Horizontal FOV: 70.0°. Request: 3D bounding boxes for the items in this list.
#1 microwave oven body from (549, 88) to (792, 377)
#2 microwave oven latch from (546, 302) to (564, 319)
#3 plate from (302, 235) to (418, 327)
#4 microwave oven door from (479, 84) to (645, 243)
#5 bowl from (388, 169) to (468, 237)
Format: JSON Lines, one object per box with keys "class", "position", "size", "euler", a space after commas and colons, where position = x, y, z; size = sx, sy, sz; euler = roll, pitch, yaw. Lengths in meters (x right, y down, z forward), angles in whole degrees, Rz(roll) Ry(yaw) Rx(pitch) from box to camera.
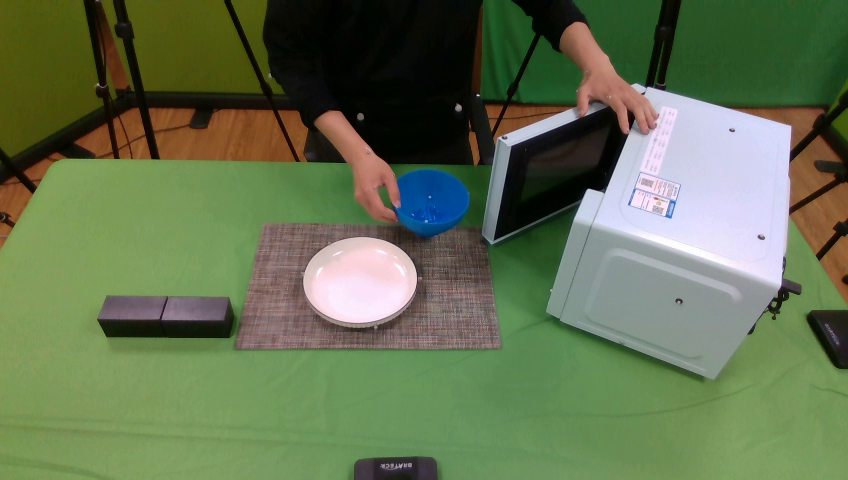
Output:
{"class": "microwave oven body", "position": [0.456, -0.028, 1.088], "size": [0.325, 0.261, 0.440], "euler": [20, 47, 16]}
{"class": "microwave oven latch", "position": [0.242, 0.102, 1.081], "size": [0.030, 0.029, 0.079], "euler": [22, 48, 17]}
{"class": "plate", "position": [-0.114, 0.077, 1.098], "size": [0.208, 0.039, 0.206], "euler": [2, 46, -2]}
{"class": "microwave oven door", "position": [0.273, -0.151, 1.187], "size": [0.356, 0.245, 0.039], "euler": [-24, 53, -25]}
{"class": "bowl", "position": [0.009, -0.059, 1.159], "size": [0.151, 0.077, 0.150], "euler": [-1, 47, 1]}
